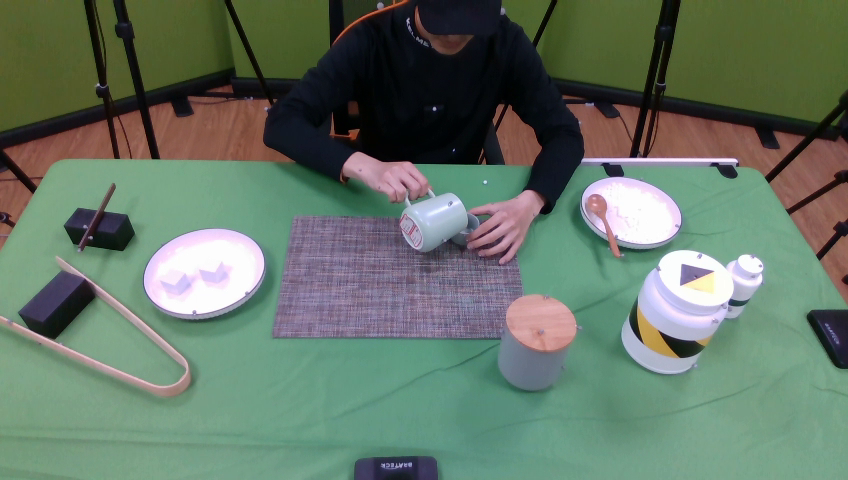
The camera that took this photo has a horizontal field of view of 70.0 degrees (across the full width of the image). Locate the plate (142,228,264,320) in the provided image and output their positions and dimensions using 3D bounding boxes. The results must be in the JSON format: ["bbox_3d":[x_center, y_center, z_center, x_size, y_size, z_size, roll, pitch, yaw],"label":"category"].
[{"bbox_3d":[-0.394,0.064,1.095,0.208,0.039,0.206,2,46,-2],"label":"plate"}]

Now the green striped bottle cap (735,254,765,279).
[{"bbox_3d":[0.566,0.046,1.051,0.044,0.020,0.044,0,45,0],"label":"green striped bottle cap"}]

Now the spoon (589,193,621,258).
[{"bbox_3d":[0.367,-0.032,1.220,0.041,0.022,0.192,1,38,-1],"label":"spoon"}]

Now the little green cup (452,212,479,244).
[{"bbox_3d":[0.080,-0.022,1.205,0.061,0.039,0.061,-1,51,2],"label":"little green cup"}]

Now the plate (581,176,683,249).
[{"bbox_3d":[0.430,-0.054,1.267,0.209,0.038,0.208,2,46,-2],"label":"plate"}]

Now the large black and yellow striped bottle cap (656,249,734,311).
[{"bbox_3d":[0.419,0.061,0.938,0.115,0.019,0.114,2,47,-2],"label":"large black and yellow striped bottle cap"}]

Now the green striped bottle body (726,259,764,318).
[{"bbox_3d":[0.563,0.081,1.089,0.063,0.120,0.063,2,46,-2],"label":"green striped bottle body"}]

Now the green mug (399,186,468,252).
[{"bbox_3d":[0.008,-0.048,1.135,0.105,0.093,0.125,-27,73,-28],"label":"green mug"}]

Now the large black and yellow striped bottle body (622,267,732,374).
[{"bbox_3d":[0.415,0.119,0.997,0.131,0.185,0.130,2,46,-2],"label":"large black and yellow striped bottle body"}]

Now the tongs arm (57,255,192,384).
[{"bbox_3d":[-0.517,0.126,1.033,0.386,0.028,0.028,30,43,23],"label":"tongs arm"}]

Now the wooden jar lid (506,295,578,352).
[{"bbox_3d":[0.179,0.130,0.925,0.108,0.021,0.107,2,43,-2],"label":"wooden jar lid"}]

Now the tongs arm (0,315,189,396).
[{"bbox_3d":[-0.555,0.170,0.981,0.384,0.026,0.050,21,43,14],"label":"tongs arm"}]

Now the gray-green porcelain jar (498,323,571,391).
[{"bbox_3d":[0.176,0.172,0.971,0.106,0.127,0.105,2,46,-2],"label":"gray-green porcelain jar"}]

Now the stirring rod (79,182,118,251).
[{"bbox_3d":[-0.605,-0.046,1.131,0.006,0.014,0.175,0,47,1],"label":"stirring rod"}]
